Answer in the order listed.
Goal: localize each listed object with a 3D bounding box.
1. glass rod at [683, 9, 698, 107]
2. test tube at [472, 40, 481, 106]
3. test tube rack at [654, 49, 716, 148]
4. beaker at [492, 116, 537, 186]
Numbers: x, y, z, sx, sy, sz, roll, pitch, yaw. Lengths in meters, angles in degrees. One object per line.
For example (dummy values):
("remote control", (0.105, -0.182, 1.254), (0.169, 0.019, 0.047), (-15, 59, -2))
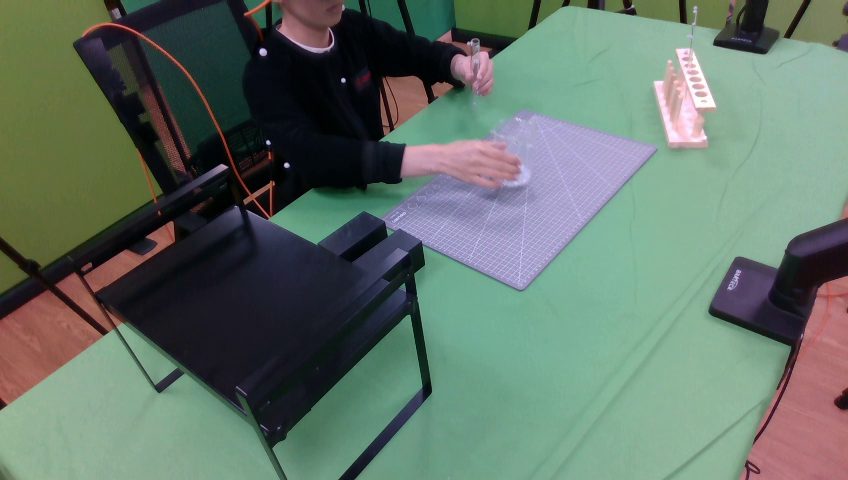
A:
("glass rod", (0.501, -0.336, 1.139), (0.008, 0.201, 0.008), (-8, 42, 8))
("test tube", (0.099, -0.314, 1.151), (0.017, 0.151, 0.017), (-2, 54, 3))
("test tube rack", (0.502, -0.281, 1.176), (0.066, 0.085, 0.241), (2, 41, 11))
("beaker", (0.155, -0.152, 1.034), (0.073, 0.100, 0.084), (16, 42, 24))
